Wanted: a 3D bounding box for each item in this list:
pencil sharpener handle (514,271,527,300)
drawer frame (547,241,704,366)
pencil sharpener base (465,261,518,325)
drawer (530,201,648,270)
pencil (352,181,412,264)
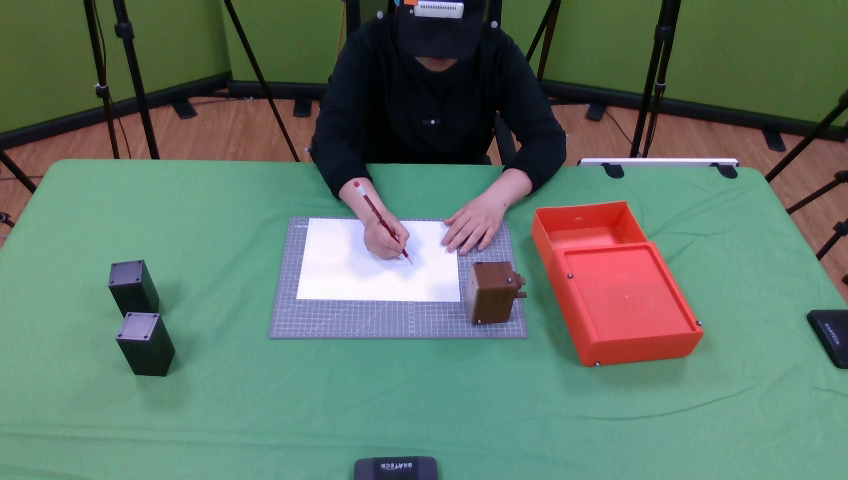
[{"bbox_3d":[0.169,0.081,1.051,0.031,0.068,0.035,-3,48,-7],"label":"pencil sharpener handle"},{"bbox_3d":[0.348,0.106,1.077,0.202,0.083,0.212,-4,47,-9],"label":"drawer frame"},{"bbox_3d":[0.117,0.093,1.052,0.077,0.107,0.061,-3,46,-7],"label":"pencil sharpener base"},{"bbox_3d":[0.329,0.025,1.159,0.195,0.073,0.210,-5,46,-9],"label":"drawer"},{"bbox_3d":[-0.075,-0.030,1.125,0.012,0.195,0.012,-30,20,12],"label":"pencil"}]
